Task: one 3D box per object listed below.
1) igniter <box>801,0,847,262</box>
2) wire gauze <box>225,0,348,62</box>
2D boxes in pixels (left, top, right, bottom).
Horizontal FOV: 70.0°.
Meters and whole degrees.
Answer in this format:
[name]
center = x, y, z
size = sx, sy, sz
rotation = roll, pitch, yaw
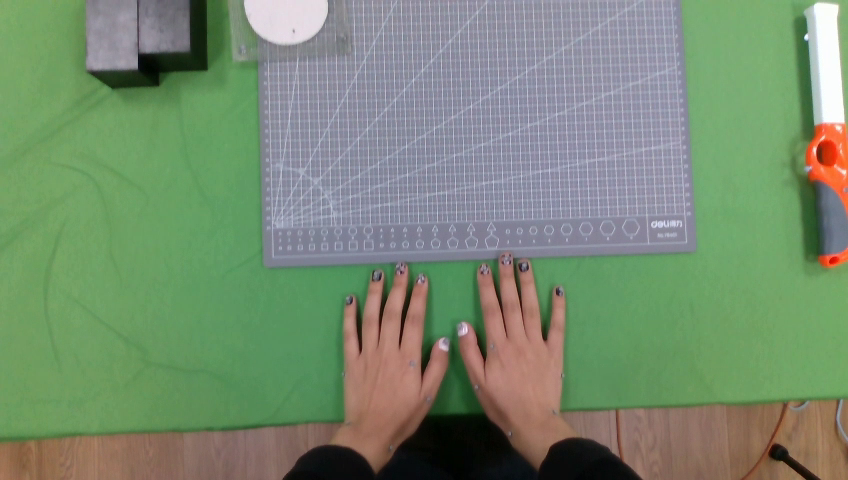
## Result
[igniter]
center = 0.424, -0.115, 0.639
size = 0.057, 0.025, 0.276
rotation = -1, 86, -13
[wire gauze]
center = -0.148, -0.250, 0.634
size = 0.125, 0.011, 0.121
rotation = -8, 86, -2
